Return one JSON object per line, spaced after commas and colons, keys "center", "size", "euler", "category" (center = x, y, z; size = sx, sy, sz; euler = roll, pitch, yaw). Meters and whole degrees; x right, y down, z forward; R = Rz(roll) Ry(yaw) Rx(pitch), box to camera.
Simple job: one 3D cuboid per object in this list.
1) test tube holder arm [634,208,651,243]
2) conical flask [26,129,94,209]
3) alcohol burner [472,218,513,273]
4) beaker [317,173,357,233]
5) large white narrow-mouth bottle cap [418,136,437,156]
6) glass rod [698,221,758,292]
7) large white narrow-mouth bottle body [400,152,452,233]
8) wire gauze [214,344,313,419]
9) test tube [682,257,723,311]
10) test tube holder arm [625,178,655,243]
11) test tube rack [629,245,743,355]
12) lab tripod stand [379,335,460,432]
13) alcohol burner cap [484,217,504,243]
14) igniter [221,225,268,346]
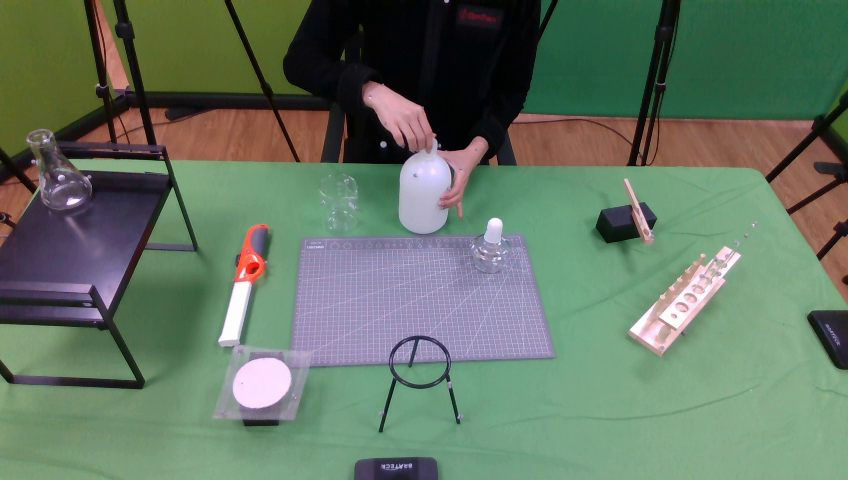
{"center": [0.428, -0.030, 1.189], "size": [0.010, 0.015, 0.087], "euler": [2, 47, -2], "category": "test tube holder arm"}
{"center": [-0.575, -0.113, 0.946], "size": [0.075, 0.122, 0.075], "euler": [2, 46, -2], "category": "conical flask"}
{"center": [0.128, 0.005, 1.132], "size": [0.078, 0.120, 0.077], "euler": [0, 47, 0], "category": "alcohol burner"}
{"center": [-0.166, -0.070, 1.198], "size": [0.083, 0.101, 0.074], "euler": [25, 50, 18], "category": "beaker"}
{"center": [0.007, -0.173, 1.115], "size": [0.038, 0.024, 0.037], "euler": [2, 47, -2], "category": "large white narrow-mouth bottle cap"}
{"center": [0.527, 0.035, 1.060], "size": [0.008, 0.200, 0.008], "euler": [5, 49, -6], "category": "glass rod"}
{"center": [0.004, -0.110, 1.183], "size": [0.102, 0.195, 0.101], "euler": [2, 47, -2], "category": "large white narrow-mouth bottle body"}
{"center": [-0.241, 0.213, 0.915], "size": [0.121, 0.011, 0.124], "euler": [5, 46, 1], "category": "wire gauze"}
{"center": [0.475, 0.080, 1.037], "size": [0.017, 0.151, 0.017], "euler": [1, 50, -1], "category": "test tube"}
{"center": [0.433, -0.062, 1.220], "size": [0.013, 0.015, 0.177], "euler": [1, 47, -3], "category": "test tube holder arm"}
{"center": [0.474, 0.095, 1.091], "size": [0.242, 0.085, 0.066], "euler": [-34, 56, -31], "category": "test tube rack"}
{"center": [-0.011, 0.214, 0.911], "size": [0.148, 0.132, 0.147], "euler": [1, 45, 0], "category": "lab tripod stand"}
{"center": [0.130, -0.021, 1.107], "size": [0.034, 0.048, 0.033], "euler": [4, 40, -3], "category": "alcohol burner cap"}
{"center": [-0.323, 0.072, 1.100], "size": [0.057, 0.025, 0.274], "euler": [-6, 45, 5], "category": "igniter"}
